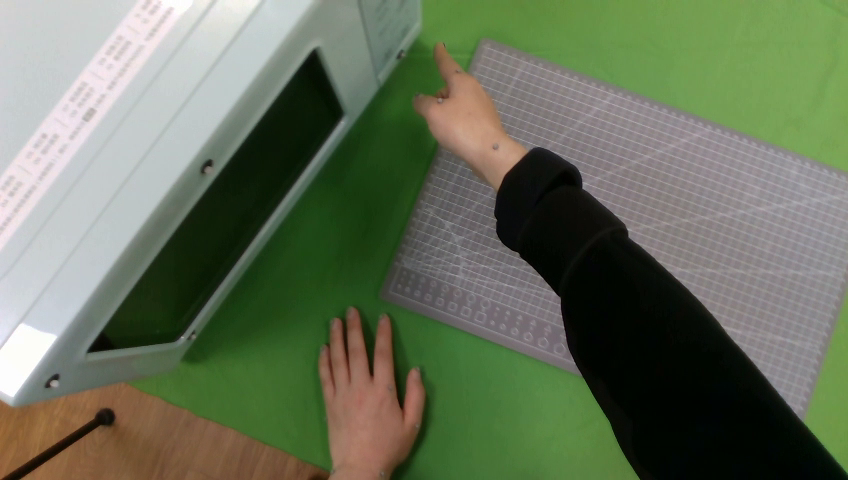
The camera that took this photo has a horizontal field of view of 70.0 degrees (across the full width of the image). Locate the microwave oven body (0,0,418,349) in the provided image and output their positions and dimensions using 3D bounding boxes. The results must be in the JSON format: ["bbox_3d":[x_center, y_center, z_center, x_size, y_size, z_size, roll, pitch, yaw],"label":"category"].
[{"bbox_3d":[-0.260,-0.158,0.516,0.326,0.260,0.441,35,87,3],"label":"microwave oven body"}]

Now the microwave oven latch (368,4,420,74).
[{"bbox_3d":[-0.036,-0.210,0.616,0.030,0.029,0.079,39,87,3],"label":"microwave oven latch"}]

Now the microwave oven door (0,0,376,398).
[{"bbox_3d":[-0.166,-0.041,0.500,0.039,0.244,0.355,35,86,4],"label":"microwave oven door"}]
